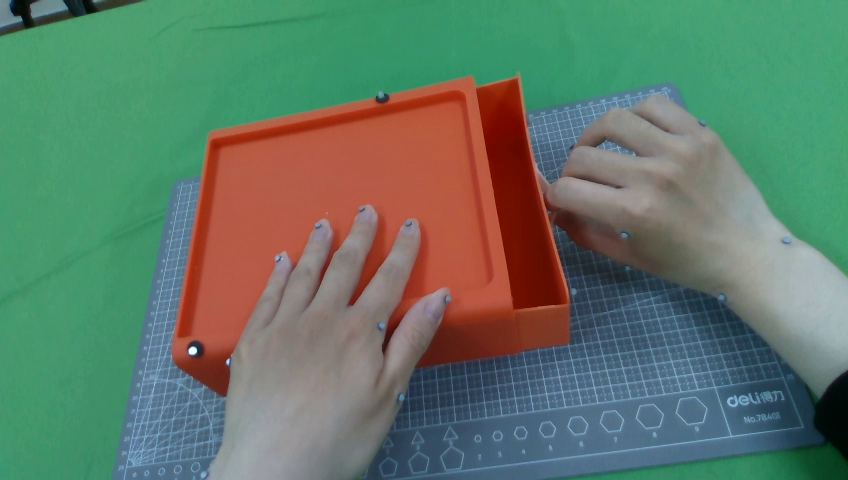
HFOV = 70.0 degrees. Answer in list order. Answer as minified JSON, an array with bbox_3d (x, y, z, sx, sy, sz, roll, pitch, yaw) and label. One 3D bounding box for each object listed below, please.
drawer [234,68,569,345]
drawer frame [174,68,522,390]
[{"bbox_3d":[-0.016,-0.014,0.432,0.211,0.074,0.192,-10,57,8],"label":"drawer"},{"bbox_3d":[-0.049,-0.010,0.436,0.213,0.083,0.199,-11,57,7],"label":"drawer frame"}]
